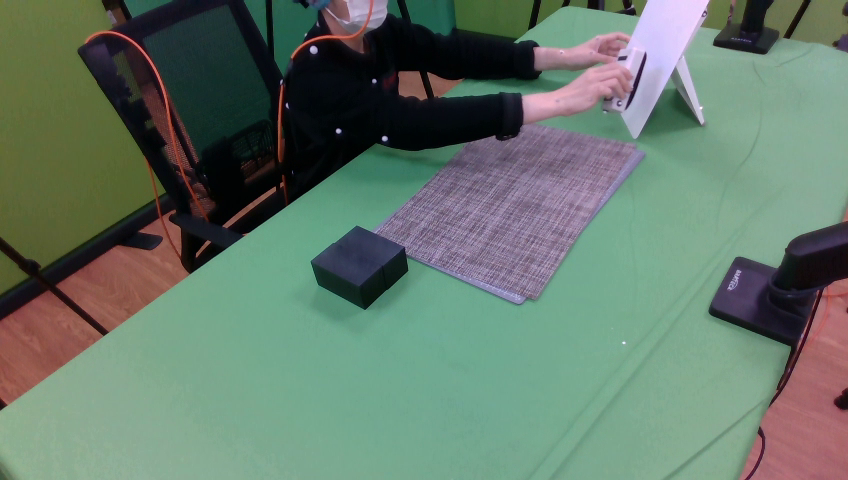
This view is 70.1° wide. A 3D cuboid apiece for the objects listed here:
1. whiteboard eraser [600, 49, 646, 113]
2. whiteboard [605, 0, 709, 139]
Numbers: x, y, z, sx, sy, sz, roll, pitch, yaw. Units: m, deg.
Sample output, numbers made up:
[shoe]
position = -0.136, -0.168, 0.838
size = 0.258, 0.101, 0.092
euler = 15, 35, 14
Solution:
[whiteboard eraser]
position = 0.359, -0.284, 1.087
size = 0.042, 0.112, 0.055
euler = 15, 9, -19
[whiteboard]
position = 0.496, -0.358, 1.146
size = 0.144, 0.305, 0.216
euler = 11, 40, -8
